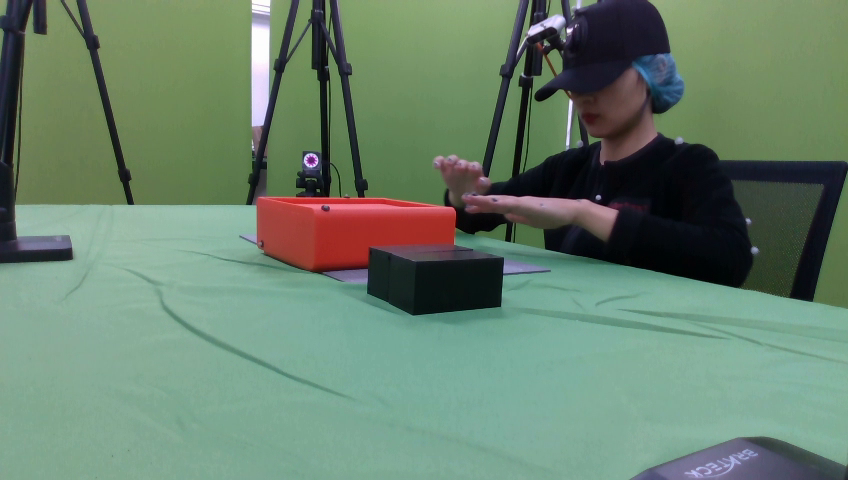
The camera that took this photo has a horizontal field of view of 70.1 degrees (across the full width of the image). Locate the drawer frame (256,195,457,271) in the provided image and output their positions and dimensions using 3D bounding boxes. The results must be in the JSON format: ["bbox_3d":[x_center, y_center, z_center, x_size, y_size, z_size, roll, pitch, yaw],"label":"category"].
[{"bbox_3d":[-0.097,-0.017,0.843,0.215,0.082,0.200,-4,10,-35],"label":"drawer frame"}]

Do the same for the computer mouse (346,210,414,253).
[{"bbox_3d":[-0.063,-0.014,0.852,0.063,0.041,0.116,0,21,-31],"label":"computer mouse"}]

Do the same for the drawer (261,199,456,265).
[{"bbox_3d":[-0.094,-0.017,0.844,0.213,0.073,0.193,-3,10,-34],"label":"drawer"}]
